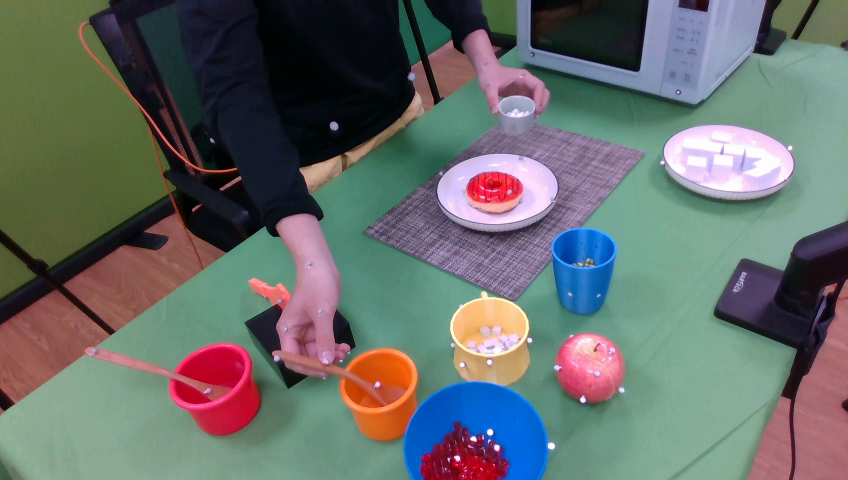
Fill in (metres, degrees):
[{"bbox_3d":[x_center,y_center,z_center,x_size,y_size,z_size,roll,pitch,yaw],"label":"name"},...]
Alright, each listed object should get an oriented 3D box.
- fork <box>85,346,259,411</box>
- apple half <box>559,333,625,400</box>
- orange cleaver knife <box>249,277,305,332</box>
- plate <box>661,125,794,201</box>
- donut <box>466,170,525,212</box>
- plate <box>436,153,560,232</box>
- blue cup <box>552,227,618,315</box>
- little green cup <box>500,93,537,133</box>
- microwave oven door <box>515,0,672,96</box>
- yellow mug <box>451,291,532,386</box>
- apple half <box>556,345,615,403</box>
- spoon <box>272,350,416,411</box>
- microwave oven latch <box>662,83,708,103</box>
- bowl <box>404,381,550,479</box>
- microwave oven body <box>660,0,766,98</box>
[{"bbox_3d":[-0.298,0.166,0.727,0.209,0.018,0.028,28,48,-23],"label":"fork"},{"bbox_3d":[0.209,0.147,0.730,0.080,0.075,0.053,26,48,38],"label":"apple half"},{"bbox_3d":[-0.210,0.088,0.855,0.012,0.077,0.210,-28,15,-24],"label":"orange cleaver knife"},{"bbox_3d":[0.513,-0.128,1.035,0.207,0.039,0.206,-4,40,4],"label":"plate"},{"bbox_3d":[0.121,-0.083,1.019,0.099,0.048,0.098,-4,39,4],"label":"donut"},{"bbox_3d":[0.125,-0.078,1.029,0.209,0.038,0.208,-4,40,4],"label":"plate"},{"bbox_3d":[0.218,0.047,0.825,0.092,0.100,0.092,-6,39,5],"label":"blue cup"},{"bbox_3d":[0.155,-0.209,1.005,0.061,0.039,0.061,1,55,-1],"label":"little green cup"},{"bbox_3d":[0.344,-0.455,1.259,0.353,0.245,0.039,26,51,33],"label":"microwave oven door"},{"bbox_3d":[0.086,0.120,0.786,0.100,0.064,0.130,-8,39,2],"label":"yellow mug"},{"bbox_3d":[0.181,0.167,0.709,0.080,0.081,0.033,29,50,35],"label":"apple half"},{"bbox_3d":[-0.087,0.158,0.691,0.021,0.195,0.041,-49,32,13],"label":"spoon"},{"bbox_3d":[0.518,-0.297,1.205,0.078,0.029,0.030,29,53,36],"label":"microwave oven latch"},{"bbox_3d":[0.058,0.235,0.645,0.151,0.077,0.150,-4,39,4],"label":"bowl"},{"bbox_3d":[0.473,-0.513,1.317,0.438,0.261,0.327,26,51,34],"label":"microwave oven body"}]
